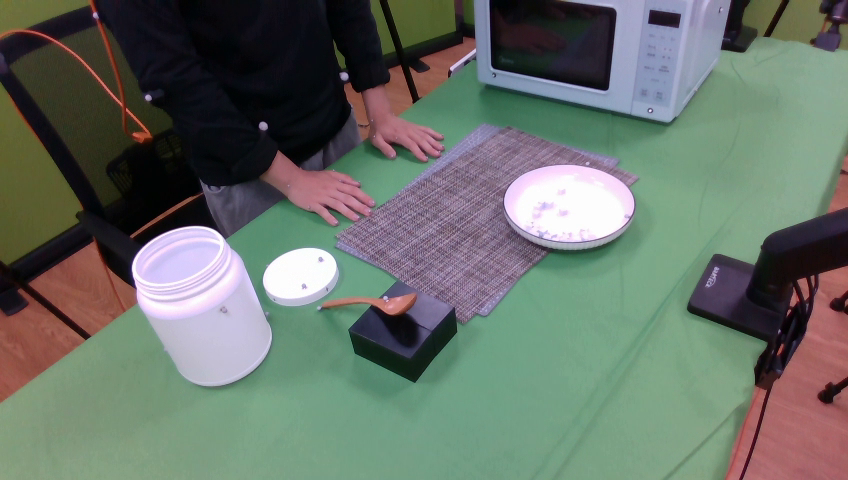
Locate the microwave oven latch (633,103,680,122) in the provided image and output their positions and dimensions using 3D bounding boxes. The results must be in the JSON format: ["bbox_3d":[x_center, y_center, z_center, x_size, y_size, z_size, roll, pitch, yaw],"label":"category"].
[{"bbox_3d":[0.444,-0.249,1.157,0.078,0.029,0.030,21,48,30],"label":"microwave oven latch"}]

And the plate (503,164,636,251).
[{"bbox_3d":[0.232,-0.050,0.976,0.209,0.038,0.208,-3,41,3],"label":"plate"}]

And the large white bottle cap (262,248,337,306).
[{"bbox_3d":[-0.192,0.056,0.934,0.115,0.018,0.114,-4,41,4],"label":"large white bottle cap"}]

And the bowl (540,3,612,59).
[{"bbox_3d":[0.323,-0.441,1.298,0.151,0.077,0.150,-4,41,4],"label":"bowl"}]

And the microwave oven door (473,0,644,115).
[{"bbox_3d":[0.257,-0.396,1.199,0.353,0.245,0.039,21,48,29],"label":"microwave oven door"}]

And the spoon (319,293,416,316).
[{"bbox_3d":[-0.082,0.086,0.826,0.192,0.022,0.041,-3,37,41],"label":"spoon"}]

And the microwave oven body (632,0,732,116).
[{"bbox_3d":[0.377,-0.462,1.267,0.438,0.261,0.327,21,48,30],"label":"microwave oven body"}]

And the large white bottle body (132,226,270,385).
[{"bbox_3d":[-0.286,0.085,0.784,0.130,0.185,0.130,-4,41,4],"label":"large white bottle body"}]
